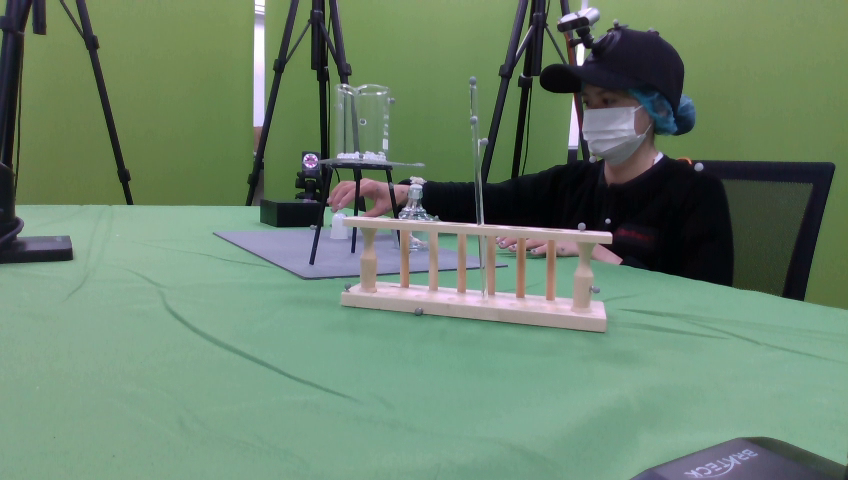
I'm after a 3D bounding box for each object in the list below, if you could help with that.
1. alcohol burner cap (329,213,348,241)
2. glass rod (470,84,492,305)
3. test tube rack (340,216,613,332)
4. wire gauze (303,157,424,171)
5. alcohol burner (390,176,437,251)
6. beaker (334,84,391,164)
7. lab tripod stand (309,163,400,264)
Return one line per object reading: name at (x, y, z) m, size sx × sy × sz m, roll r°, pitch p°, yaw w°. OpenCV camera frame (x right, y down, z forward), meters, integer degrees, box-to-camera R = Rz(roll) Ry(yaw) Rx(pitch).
alcohol burner cap at (-0.148, -0.024, 1.050) m, size 0.034 × 0.048 × 0.034 m, roll 2°, pitch 8°, yaw 0°
glass rod at (0.051, -0.036, 0.535) m, size 0.008 × 0.199 × 0.008 m, roll -5°, pitch 10°, yaw 1°
test tube rack at (0.048, 0.026, 0.568) m, size 0.242 × 0.085 × 0.067 m, roll 4°, pitch 8°, yaw 13°
wire gauze at (-0.082, -0.101, 0.799) m, size 0.126 × 0.011 × 0.121 m, roll 1°, pitch 7°, yaw -30°
alcohol burner at (-0.016, -0.042, 0.955) m, size 0.078 × 0.119 × 0.078 m, roll 4°, pitch 5°, yaw 0°
beaker at (-0.082, -0.149, 0.792) m, size 0.074 × 0.100 × 0.084 m, roll 2°, pitch 5°, yaw 4°
lab tripod stand at (-0.091, -0.037, 0.813) m, size 0.148 × 0.131 × 0.148 m, roll 1°, pitch 6°, yaw 0°
